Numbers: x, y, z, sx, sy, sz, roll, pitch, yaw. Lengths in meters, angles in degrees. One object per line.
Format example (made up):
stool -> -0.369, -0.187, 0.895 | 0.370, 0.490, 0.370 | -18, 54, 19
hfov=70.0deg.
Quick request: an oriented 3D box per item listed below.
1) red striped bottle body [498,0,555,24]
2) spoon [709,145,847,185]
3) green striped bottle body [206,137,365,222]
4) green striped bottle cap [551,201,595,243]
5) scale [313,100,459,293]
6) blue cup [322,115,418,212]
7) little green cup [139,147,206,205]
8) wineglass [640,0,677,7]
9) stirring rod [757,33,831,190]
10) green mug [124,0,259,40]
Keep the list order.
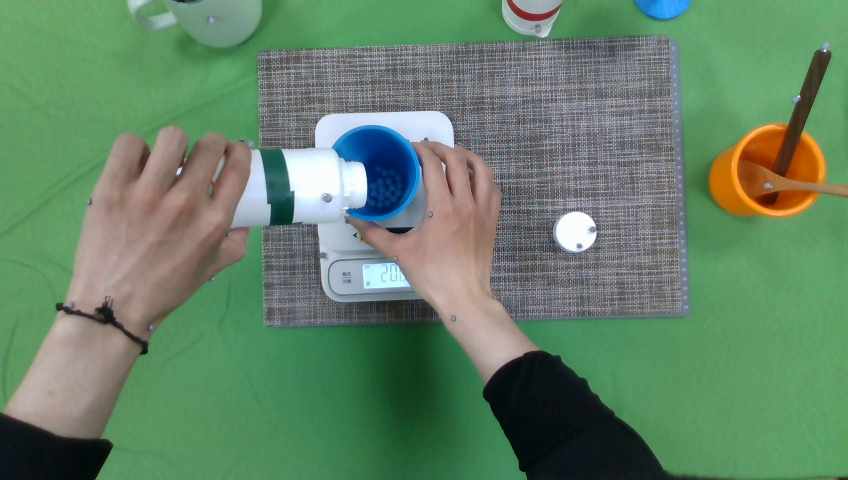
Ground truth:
red striped bottle body -> 0.110, -0.268, 0.604 | 0.063, 0.120, 0.063 | 0, 88, 1
spoon -> 0.373, -0.064, 0.581 | 0.022, 0.192, 0.041 | 6, 98, -42
green striped bottle body -> -0.110, -0.050, 0.487 | 0.120, 0.063, 0.063 | -6, 88, -19
green striped bottle cap -> 0.159, -0.020, 0.647 | 0.044, 0.020, 0.044 | 0, 86, 2
scale -> -0.040, -0.046, 0.642 | 0.149, 0.031, 0.200 | -3, 89, 1
blue cup -> -0.048, -0.067, 0.578 | 0.093, 0.100, 0.092 | 0, 91, -2
little green cup -> -0.265, -0.066, 0.647 | 0.061, 0.038, 0.061 | 0, 88, 0
wineglass -> 0.253, -0.289, 0.575 | 0.074, 0.172, 0.073 | 0, 88, 2
stirring rod -> 0.351, -0.115, 0.582 | 0.014, 0.178, 0.006 | 7, 48, 15
green mug -> -0.240, -0.256, 0.618 | 0.125, 0.105, 0.092 | -24, 88, 1
